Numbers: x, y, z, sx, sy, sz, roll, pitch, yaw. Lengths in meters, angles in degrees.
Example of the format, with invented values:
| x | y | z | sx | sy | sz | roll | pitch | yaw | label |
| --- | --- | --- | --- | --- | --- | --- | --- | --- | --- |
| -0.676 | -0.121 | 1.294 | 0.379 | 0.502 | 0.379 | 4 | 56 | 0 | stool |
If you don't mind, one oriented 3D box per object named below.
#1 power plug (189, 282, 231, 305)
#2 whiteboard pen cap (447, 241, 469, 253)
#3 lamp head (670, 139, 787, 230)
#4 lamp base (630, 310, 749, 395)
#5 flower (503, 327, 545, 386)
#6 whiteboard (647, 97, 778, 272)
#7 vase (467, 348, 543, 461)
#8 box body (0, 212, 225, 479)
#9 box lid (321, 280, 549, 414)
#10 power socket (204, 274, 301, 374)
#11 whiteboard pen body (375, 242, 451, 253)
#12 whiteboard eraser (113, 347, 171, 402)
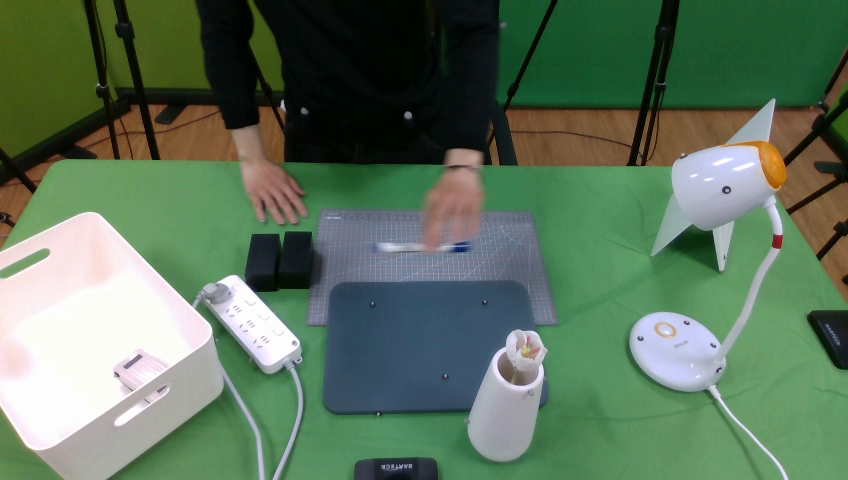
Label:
| x | y | z | sx | sy | sz | roll | pitch | yaw | label |
| --- | --- | --- | --- | --- | --- | --- | --- | --- | --- |
| -0.368 | 0.097 | 1.038 | 0.072 | 0.053 | 0.035 | -27 | 55 | -21 | power plug |
| 0.051 | 0.011 | 0.935 | 0.033 | 0.018 | 0.018 | 1 | 45 | -19 | whiteboard pen cap |
| 0.415 | -0.078 | 0.812 | 0.113 | 0.123 | 0.112 | 12 | 70 | -37 | lamp head |
| 0.447 | 0.142 | 0.984 | 0.161 | 0.181 | 0.178 | -24 | 55 | -24 | lamp base |
| 0.114 | 0.189 | 0.790 | 0.044 | 0.363 | 0.038 | 33 | 69 | 18 | flower |
| 0.602 | -0.079 | 1.162 | 0.144 | 0.306 | 0.216 | 35 | 51 | 2 | whiteboard |
| 0.116 | 0.234 | 0.860 | 0.098 | 0.201 | 0.097 | 1 | 47 | -1 | vase |
| -0.506 | 0.155 | 0.915 | 0.362 | 0.161 | 0.254 | 35 | 54 | 26 | box body |
| 0.013 | 0.174 | 1.040 | 0.372 | 0.015 | 0.261 | 0 | 47 | -4 | box lid |
| -0.297 | 0.140 | 1.035 | 0.072 | 0.033 | 0.225 | -33 | 57 | -30 | power socket |
| -0.006 | 0.012 | 0.920 | 0.141 | 0.017 | 0.017 | 1 | 45 | -18 | whiteboard pen body |
| -0.420 | 0.214 | 0.936 | 0.112 | 0.042 | 0.055 | 25 | 48 | 21 | whiteboard eraser |
